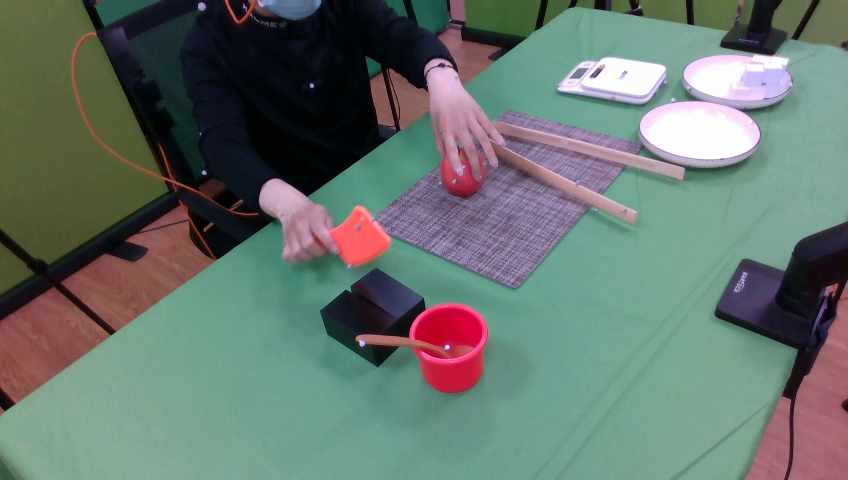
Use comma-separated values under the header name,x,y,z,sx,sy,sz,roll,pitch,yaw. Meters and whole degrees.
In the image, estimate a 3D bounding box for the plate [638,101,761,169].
name,x,y,z,sx,sy,sz,roll,pitch,yaw
plate,0.500,-0.190,1.111,0.209,0.038,0.208,-4,41,4

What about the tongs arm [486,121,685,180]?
name,x,y,z,sx,sy,sz,roll,pitch,yaw
tongs arm,0.287,-0.170,1.124,0.384,0.028,0.028,21,52,29

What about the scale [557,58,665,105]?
name,x,y,z,sx,sy,sz,roll,pitch,yaw
scale,0.406,-0.348,1.314,0.199,0.032,0.149,19,47,28

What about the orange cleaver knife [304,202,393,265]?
name,x,y,z,sx,sy,sz,roll,pitch,yaw
orange cleaver knife,-0.112,0.001,0.863,0.012,0.077,0.210,-39,12,-35

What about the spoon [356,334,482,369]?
name,x,y,z,sx,sy,sz,roll,pitch,yaw
spoon,-0.001,0.130,0.731,0.195,0.021,0.041,21,28,-39

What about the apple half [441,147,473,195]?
name,x,y,z,sx,sy,sz,roll,pitch,yaw
apple half,0.057,-0.119,1.063,0.053,0.075,0.080,-9,44,4

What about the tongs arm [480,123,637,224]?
name,x,y,z,sx,sy,sz,roll,pitch,yaw
tongs arm,0.228,-0.128,1.080,0.051,0.026,0.381,-33,46,-26

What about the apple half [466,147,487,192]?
name,x,y,z,sx,sy,sz,roll,pitch,yaw
apple half,0.095,-0.126,1.062,0.033,0.082,0.081,-10,40,4

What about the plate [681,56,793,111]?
name,x,y,z,sx,sy,sz,roll,pitch,yaw
plate,0.636,-0.317,1.239,0.207,0.039,0.206,-4,40,4
